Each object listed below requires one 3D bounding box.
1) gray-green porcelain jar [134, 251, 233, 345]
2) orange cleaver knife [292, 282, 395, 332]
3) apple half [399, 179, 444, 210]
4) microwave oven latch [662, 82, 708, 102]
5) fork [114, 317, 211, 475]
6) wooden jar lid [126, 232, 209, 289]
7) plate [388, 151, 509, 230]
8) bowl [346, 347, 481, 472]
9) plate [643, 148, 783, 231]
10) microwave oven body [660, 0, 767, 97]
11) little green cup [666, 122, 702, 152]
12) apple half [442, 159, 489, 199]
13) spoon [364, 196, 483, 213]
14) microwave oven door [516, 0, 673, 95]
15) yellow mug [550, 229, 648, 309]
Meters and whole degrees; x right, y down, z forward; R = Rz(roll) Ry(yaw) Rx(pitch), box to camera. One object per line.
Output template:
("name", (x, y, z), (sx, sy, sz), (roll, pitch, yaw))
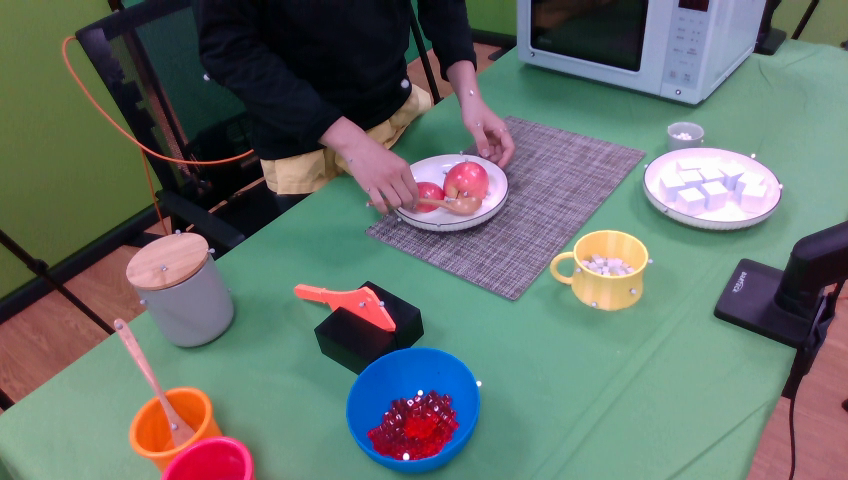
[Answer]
("gray-green porcelain jar", (-0.334, 0.076, 0.849), (0.106, 0.127, 0.105), (-4, 41, 4))
("orange cleaver knife", (-0.116, 0.091, 0.835), (0.209, 0.077, 0.012), (2, 32, 48))
("apple half", (-0.003, -0.088, 1.045), (0.081, 0.033, 0.081), (-2, 42, 2))
("microwave oven latch", (0.517, -0.298, 1.203), (0.078, 0.029, 0.030), (28, 52, 35))
("fork", (-0.309, 0.179, 0.707), (0.028, 0.018, 0.207), (-30, 89, -22))
("wooden jar lid", (-0.340, 0.030, 0.808), (0.108, 0.021, 0.108), (-5, 39, 5))
("plate", (0.044, -0.082, 1.043), (0.209, 0.038, 0.208), (-4, 40, 4))
("bowl", (-0.008, 0.205, 0.690), (0.151, 0.077, 0.150), (-4, 40, 4))
("plate", (0.464, -0.080, 0.986), (0.207, 0.039, 0.206), (-4, 41, 4))
("microwave oven body", (0.473, -0.517, 1.313), (0.438, 0.261, 0.327), (26, 51, 34))
("little green cup", (0.472, -0.183, 1.102), (0.061, 0.039, 0.061), (-5, 41, 5))
("apple half", (0.074, -0.110, 1.047), (0.080, 0.053, 0.075), (21, 46, 30))
("spoon", (0.000, -0.064, 0.993), (0.194, 0.022, 0.041), (3, 45, -9))
("microwave oven door", (0.344, -0.458, 1.257), (0.353, 0.245, 0.039), (26, 51, 33))
("yellow mug", (0.245, 0.040, 0.856), (0.130, 0.064, 0.099), (1, 42, 11))
